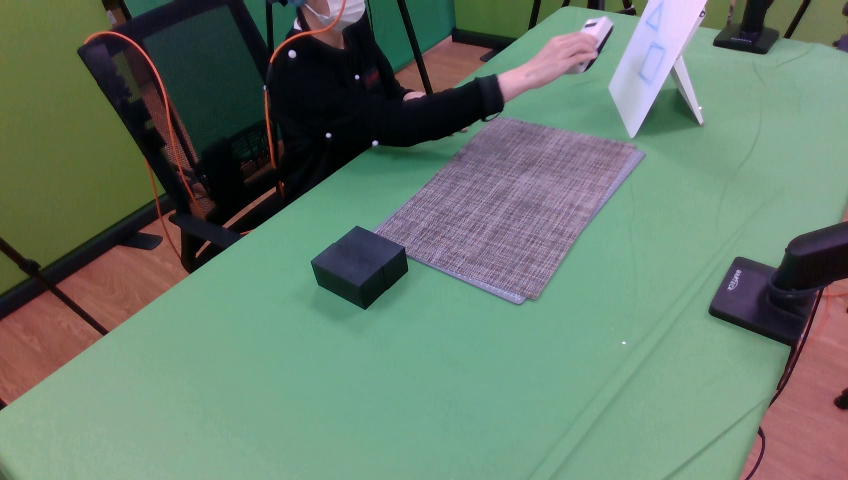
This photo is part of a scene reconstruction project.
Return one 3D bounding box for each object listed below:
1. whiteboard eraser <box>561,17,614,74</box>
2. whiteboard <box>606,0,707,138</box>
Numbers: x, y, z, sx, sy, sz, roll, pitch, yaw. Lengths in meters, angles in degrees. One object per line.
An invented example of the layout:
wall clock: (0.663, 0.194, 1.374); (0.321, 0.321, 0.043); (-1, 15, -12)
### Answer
whiteboard eraser: (0.304, -0.356, 1.118); (0.112, 0.042, 0.055); (-57, 32, -7)
whiteboard: (0.496, -0.359, 1.147); (0.144, 0.305, 0.216); (11, 40, -7)
